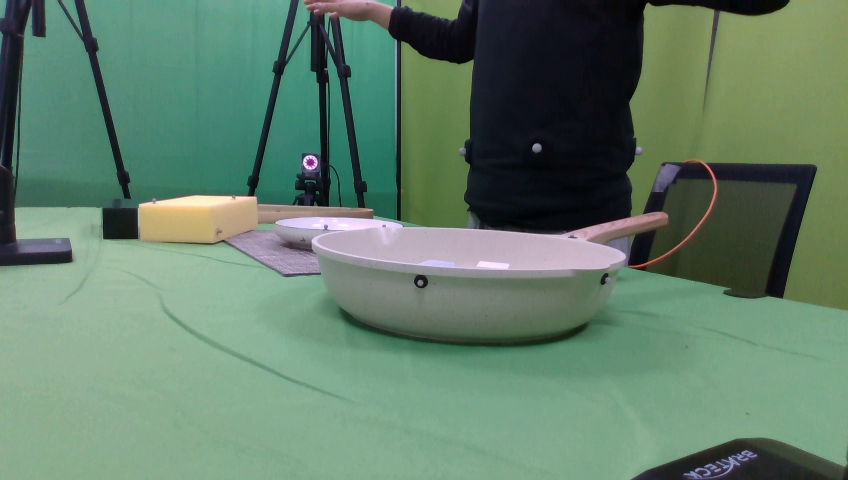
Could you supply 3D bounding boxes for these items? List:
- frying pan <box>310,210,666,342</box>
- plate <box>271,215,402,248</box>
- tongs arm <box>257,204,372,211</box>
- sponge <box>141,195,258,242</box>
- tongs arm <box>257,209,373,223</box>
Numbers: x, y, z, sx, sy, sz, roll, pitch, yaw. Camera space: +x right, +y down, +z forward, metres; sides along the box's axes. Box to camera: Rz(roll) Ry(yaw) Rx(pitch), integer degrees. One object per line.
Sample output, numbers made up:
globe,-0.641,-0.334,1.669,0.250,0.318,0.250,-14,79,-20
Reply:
frying pan,0.120,0.011,0.643,0.490,0.102,0.305,-13,16,-36
plate,-0.141,-0.012,0.978,0.208,0.039,0.207,3,7,0
tongs arm,-0.312,-0.068,1.417,0.387,0.026,0.050,1,8,-24
sponge,-0.380,-0.040,1.047,0.118,0.061,0.207,1,8,3
tongs arm,-0.274,-0.053,1.347,0.390,0.028,0.028,-2,7,-37
